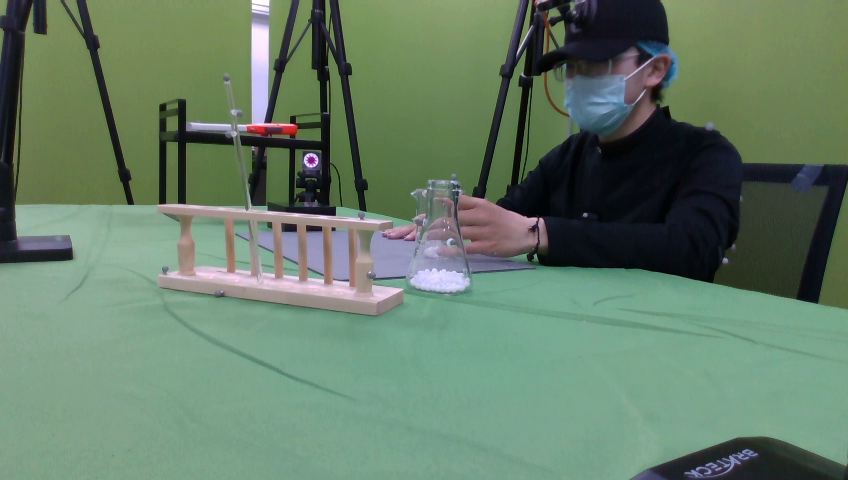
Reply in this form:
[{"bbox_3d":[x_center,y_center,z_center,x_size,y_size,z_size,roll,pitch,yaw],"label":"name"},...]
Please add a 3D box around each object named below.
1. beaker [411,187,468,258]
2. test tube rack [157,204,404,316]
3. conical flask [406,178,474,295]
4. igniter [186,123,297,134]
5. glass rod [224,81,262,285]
[{"bbox_3d":[0.022,-0.027,0.892,0.084,0.100,0.074,1,7,-3],"label":"beaker"},{"bbox_3d":[-0.143,0.013,0.599,0.242,0.085,0.067,5,8,19],"label":"test tube rack"},{"bbox_3d":[0.019,-0.005,0.655,0.075,0.122,0.075,2,7,0],"label":"conical flask"},{"bbox_3d":[-0.392,-0.247,1.341,0.057,0.025,0.278,9,14,38],"label":"igniter"},{"bbox_3d":[-0.174,-0.052,0.582,0.008,0.199,0.008,-7,8,1],"label":"glass rod"}]
